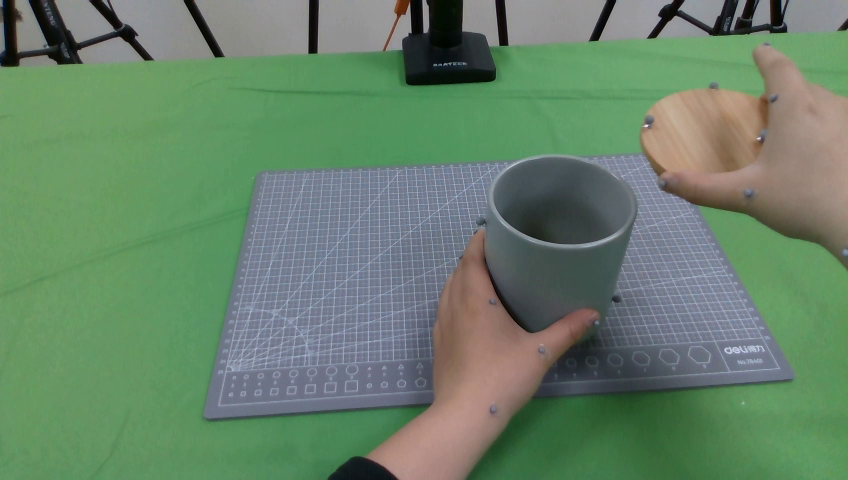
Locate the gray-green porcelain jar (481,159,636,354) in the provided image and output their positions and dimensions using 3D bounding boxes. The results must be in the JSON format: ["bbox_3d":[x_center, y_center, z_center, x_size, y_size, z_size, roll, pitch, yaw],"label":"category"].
[{"bbox_3d":[0.098,0.018,0.472,0.106,0.127,0.105,-1,44,1],"label":"gray-green porcelain jar"}]

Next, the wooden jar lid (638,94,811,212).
[{"bbox_3d":[0.198,-0.058,0.407,0.108,0.021,0.107,-2,49,3],"label":"wooden jar lid"}]
